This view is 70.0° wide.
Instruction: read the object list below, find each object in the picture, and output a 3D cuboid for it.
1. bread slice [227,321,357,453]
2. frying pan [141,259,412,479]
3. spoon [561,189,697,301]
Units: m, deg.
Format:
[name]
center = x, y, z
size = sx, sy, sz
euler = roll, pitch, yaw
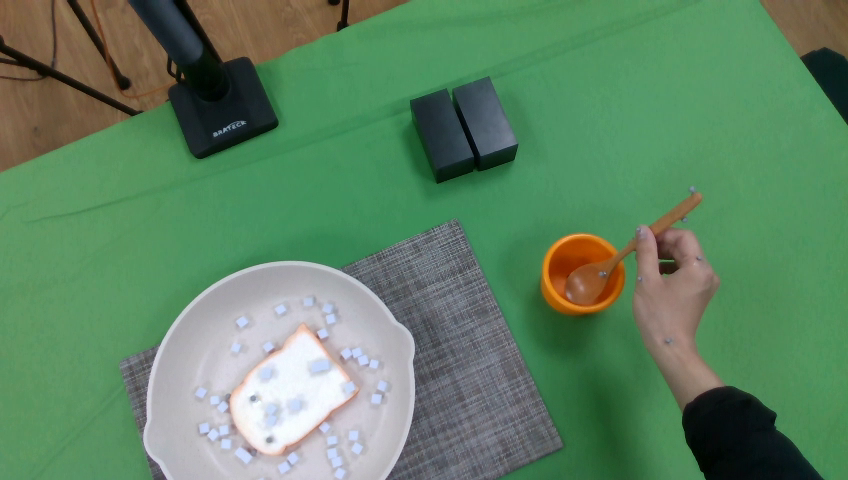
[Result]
[bread slice]
center = -0.159, 0.179, 0.708
size = 0.134, 0.018, 0.106
euler = -44, 78, -12
[frying pan]
center = -0.121, 0.258, 0.645
size = 0.307, 0.103, 0.483
euler = -21, 67, -3
[spoon]
center = 0.214, 0.009, 0.646
size = 0.022, 0.194, 0.041
euler = -9, 62, -36
